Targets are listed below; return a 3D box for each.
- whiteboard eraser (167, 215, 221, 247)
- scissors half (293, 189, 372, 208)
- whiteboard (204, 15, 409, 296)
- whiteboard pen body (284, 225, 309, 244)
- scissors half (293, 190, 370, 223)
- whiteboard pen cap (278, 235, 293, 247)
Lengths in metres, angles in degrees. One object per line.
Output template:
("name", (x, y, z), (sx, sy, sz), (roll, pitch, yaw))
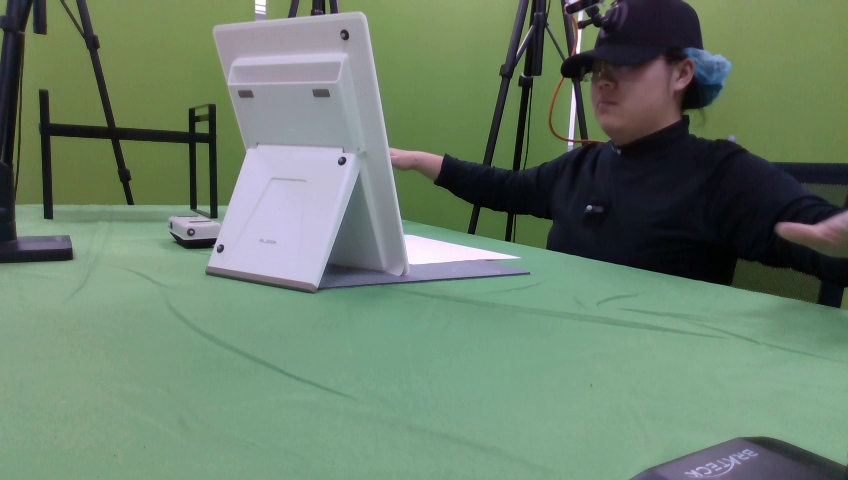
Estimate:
("whiteboard eraser", (-0.350, -0.014, 0.920), (0.056, 0.042, 0.112), (0, 7, -35))
("scissors half", (-0.201, -0.096, 1.333), (0.175, 0.040, 0.013), (5, 18, -4))
("whiteboard", (-0.166, -0.072, 0.669), (0.216, 0.305, 0.144), (8, 30, 30))
("whiteboard pen body", (-0.208, -0.008, 0.985), (0.017, 0.017, 0.141), (3, 9, 1))
("scissors half", (-0.205, -0.078, 1.338), (0.175, 0.040, 0.013), (22, 11, -8))
("whiteboard pen cap", (-0.211, 0.001, 0.928), (0.018, 0.018, 0.033), (3, 6, 1))
